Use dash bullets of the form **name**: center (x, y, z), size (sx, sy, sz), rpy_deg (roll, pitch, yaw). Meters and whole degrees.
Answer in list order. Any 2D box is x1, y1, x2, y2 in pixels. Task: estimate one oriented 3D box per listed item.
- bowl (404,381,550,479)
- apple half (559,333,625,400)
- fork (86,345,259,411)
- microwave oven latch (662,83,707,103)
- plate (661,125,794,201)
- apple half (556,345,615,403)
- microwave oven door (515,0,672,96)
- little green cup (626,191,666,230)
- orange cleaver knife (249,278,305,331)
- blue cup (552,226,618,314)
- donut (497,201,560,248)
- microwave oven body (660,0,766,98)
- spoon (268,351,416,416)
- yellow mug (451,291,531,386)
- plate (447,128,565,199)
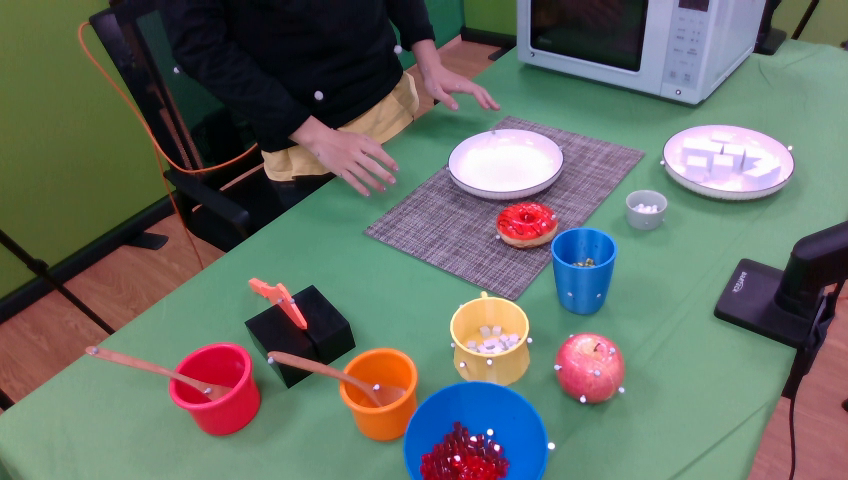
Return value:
- **bowl**: center (0.058, 0.235, 0.645), size (0.151, 0.077, 0.150), rpy_deg (-4, 39, 4)
- **apple half**: center (0.209, 0.147, 0.730), size (0.080, 0.075, 0.053), rpy_deg (26, 48, 38)
- **fork**: center (-0.298, 0.166, 0.728), size (0.209, 0.018, 0.028), rpy_deg (28, 47, -23)
- **microwave oven latch**: center (0.517, -0.296, 1.204), size (0.078, 0.029, 0.030), rpy_deg (27, 52, 35)
- **plate**: center (0.513, -0.128, 1.035), size (0.207, 0.039, 0.206), rpy_deg (-4, 40, 4)
- **apple half**: center (0.181, 0.167, 0.709), size (0.080, 0.081, 0.033), rpy_deg (29, 49, 35)
- **microwave oven door**: center (0.343, -0.454, 1.259), size (0.353, 0.245, 0.039), rpy_deg (26, 51, 33)
- **little green cup**: center (0.352, -0.046, 0.963), size (0.061, 0.039, 0.061), rpy_deg (-4, 40, 4)
- **orange cleaver knife**: center (-0.210, 0.088, 0.855), size (0.012, 0.077, 0.210), rpy_deg (-28, 15, -25)
- **blue cup**: center (0.218, 0.047, 0.826), size (0.092, 0.101, 0.092), rpy_deg (-6, 40, 5)
- **donut**: center (0.165, -0.026, 0.958), size (0.099, 0.048, 0.098), rpy_deg (-5, 38, 4)
- **microwave oven body**: center (0.472, -0.513, 1.317), size (0.438, 0.261, 0.327), rpy_deg (26, 51, 34)
- **spoon**: center (-0.090, 0.162, 0.699), size (0.021, 0.195, 0.041), rpy_deg (-44, 31, 27)
- **yellow mug**: center (0.085, 0.120, 0.786), size (0.100, 0.064, 0.130), rpy_deg (-7, 39, 1)
- **plate**: center (0.147, -0.134, 1.092), size (0.209, 0.038, 0.208), rpy_deg (-4, 40, 4)
